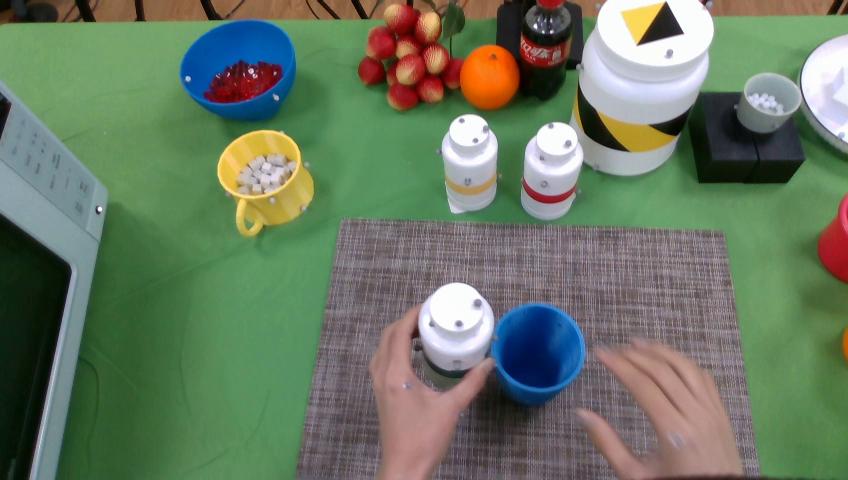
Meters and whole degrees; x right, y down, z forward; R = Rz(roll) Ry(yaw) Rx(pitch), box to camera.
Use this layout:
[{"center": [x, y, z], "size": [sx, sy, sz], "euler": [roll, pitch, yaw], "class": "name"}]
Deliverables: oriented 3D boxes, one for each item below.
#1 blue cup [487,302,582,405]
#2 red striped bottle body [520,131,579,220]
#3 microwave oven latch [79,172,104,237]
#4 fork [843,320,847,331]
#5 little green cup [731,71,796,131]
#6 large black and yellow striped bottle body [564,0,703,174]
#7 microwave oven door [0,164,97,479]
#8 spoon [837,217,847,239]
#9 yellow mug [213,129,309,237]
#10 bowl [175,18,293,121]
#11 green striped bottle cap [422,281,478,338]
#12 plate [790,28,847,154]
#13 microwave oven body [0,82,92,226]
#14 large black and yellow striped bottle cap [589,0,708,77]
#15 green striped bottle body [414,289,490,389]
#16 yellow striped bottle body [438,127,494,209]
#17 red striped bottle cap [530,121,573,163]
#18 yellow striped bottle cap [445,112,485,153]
[{"center": [0.103, 0.119, 0.591], "size": [0.092, 0.101, 0.092], "euler": [-1, 61, 3], "class": "blue cup"}, {"center": [0.141, -0.079, 0.685], "size": [0.063, 0.121, 0.062], "euler": [-4, 60, 7], "class": "red striped bottle body"}, {"center": [-0.414, -0.042, 0.740], "size": [0.030, 0.030, 0.078], "euler": [-5, 63, 2], "class": "microwave oven latch"}, {"center": [0.481, 0.109, 0.540], "size": [0.028, 0.019, 0.206], "euler": [-34, 20, -11], "class": "fork"}, {"center": [0.385, -0.157, 0.693], "size": [0.061, 0.039, 0.061], "euler": [-1, 61, 3], "class": "little green cup"}, {"center": [0.235, -0.177, 0.692], "size": [0.131, 0.185, 0.129], "euler": [-2, 62, 4], "class": "large black and yellow striped bottle body"}, {"center": [-0.406, 0.103, 0.549], "size": [0.039, 0.246, 0.352], "euler": [-7, 62, 2], "class": "microwave oven door"}, {"center": [0.438, 0.004, 0.602], "size": [0.041, 0.194, 0.022], "euler": [33, 115, 21], "class": "spoon"}, {"center": [-0.202, -0.064, 0.738], "size": [0.100, 0.064, 0.130], "euler": [11, 65, 10], "class": "yellow mug"}, {"center": [-0.243, -0.214, 0.813], "size": [0.151, 0.077, 0.150], "euler": [-2, 63, 4], "class": "bowl"}, {"center": [0.021, 0.055, 0.483], "size": [0.044, 0.020, 0.044], "euler": [0, 55, 1], "class": "green striped bottle cap"}, {"center": [0.557, -0.174, 0.745], "size": [0.209, 0.038, 0.207], "euler": [-2, 63, 4], "class": "plate"}, {"center": [-0.554, 0.085, 0.577], "size": [0.326, 0.262, 0.437], "euler": [-6, 63, 1], "class": "microwave oven body"}, {"center": [0.227, -0.215, 0.617], "size": [0.115, 0.019, 0.114], "euler": [-2, 61, 5], "class": "large black and yellow striped bottle cap"}, {"center": [0.024, 0.082, 0.526], "size": [0.063, 0.120, 0.062], "euler": [0, 59, 1], "class": "green striped bottle body"}, {"center": [0.049, -0.092, 0.699], "size": [0.063, 0.121, 0.062], "euler": [-2, 62, 5], "class": "yellow striped bottle body"}, {"center": [0.135, -0.104, 0.639], "size": [0.044, 0.018, 0.044], "euler": [0, 61, 0], "class": "red striped bottle cap"}, {"center": [0.044, -0.116, 0.654], "size": [0.044, 0.019, 0.044], "euler": [-2, 64, 4], "class": "yellow striped bottle cap"}]
